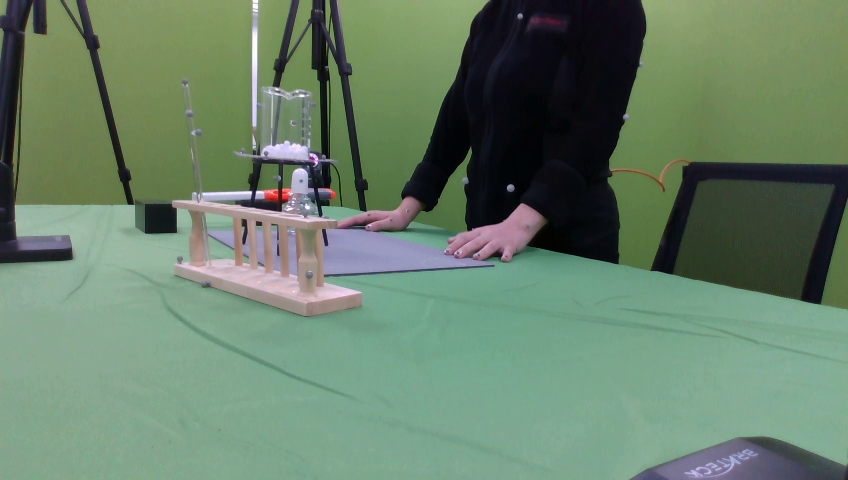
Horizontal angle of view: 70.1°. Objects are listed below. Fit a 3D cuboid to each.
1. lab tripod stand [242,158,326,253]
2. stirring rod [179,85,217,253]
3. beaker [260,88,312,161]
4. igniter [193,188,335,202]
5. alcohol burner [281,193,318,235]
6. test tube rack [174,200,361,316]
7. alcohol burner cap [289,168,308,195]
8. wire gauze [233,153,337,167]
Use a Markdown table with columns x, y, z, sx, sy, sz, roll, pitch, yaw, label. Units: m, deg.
| x | y | z | sx | sy | sz | roll | pitch | yaw | label |
| --- | --- | --- | --- | --- | --- | --- | --- | --- | --- |
| -0.207 | -0.054 | 0.895 | 0.148 | 0.131 | 0.148 | 3 | 5 | 0 | lab tripod stand |
| -0.236 | -0.073 | 0.634 | 0.006 | 0.176 | 0.014 | 1 | 10 | 42 | stirring rod |
| -0.200 | -0.166 | 0.876 | 0.074 | 0.100 | 0.083 | 1 | 7 | -18 | beaker |
| -0.312 | -0.089 | 1.209 | 0.278 | 0.025 | 0.057 | -5 | 13 | -31 | igniter |
| -0.225 | -0.069 | 1.086 | 0.078 | 0.119 | 0.078 | 2 | 6 | 0 | alcohol burner |
| -0.169 | 0.009 | 0.622 | 0.241 | 0.085 | 0.067 | 9 | 9 | 41 | test tube rack |
| -0.224 | -0.105 | 1.081 | 0.034 | 0.048 | 0.034 | 3 | 3 | 0 | alcohol burner cap |
| -0.205 | -0.119 | 0.887 | 0.122 | 0.011 | 0.124 | 2 | 4 | -32 | wire gauze |
